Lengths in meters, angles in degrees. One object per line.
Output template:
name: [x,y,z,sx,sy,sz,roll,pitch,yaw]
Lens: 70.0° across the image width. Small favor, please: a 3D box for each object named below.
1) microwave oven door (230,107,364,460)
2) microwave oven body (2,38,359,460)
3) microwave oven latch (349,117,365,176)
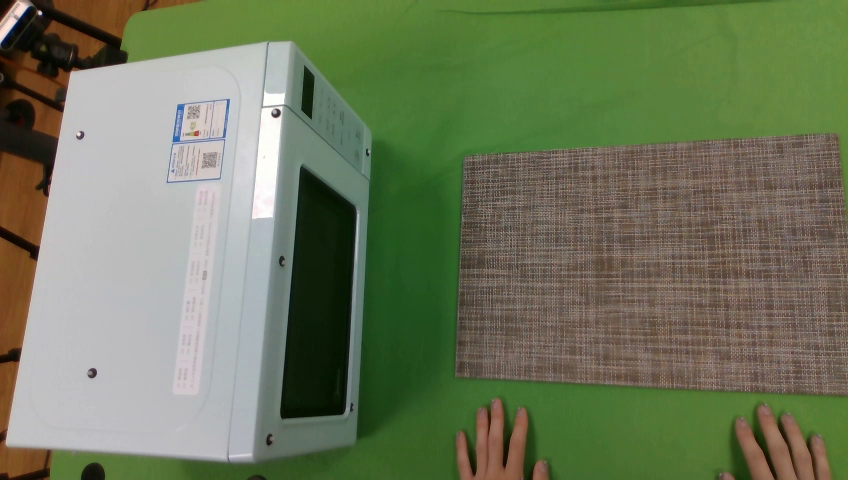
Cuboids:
microwave oven door: [-0.134,0.059,0.702,0.039,0.245,0.354,-3,76,16]
microwave oven body: [-0.272,0.026,0.756,0.325,0.262,0.439,-3,77,15]
microwave oven latch: [-0.099,-0.130,0.846,0.030,0.030,0.079,-2,77,15]
